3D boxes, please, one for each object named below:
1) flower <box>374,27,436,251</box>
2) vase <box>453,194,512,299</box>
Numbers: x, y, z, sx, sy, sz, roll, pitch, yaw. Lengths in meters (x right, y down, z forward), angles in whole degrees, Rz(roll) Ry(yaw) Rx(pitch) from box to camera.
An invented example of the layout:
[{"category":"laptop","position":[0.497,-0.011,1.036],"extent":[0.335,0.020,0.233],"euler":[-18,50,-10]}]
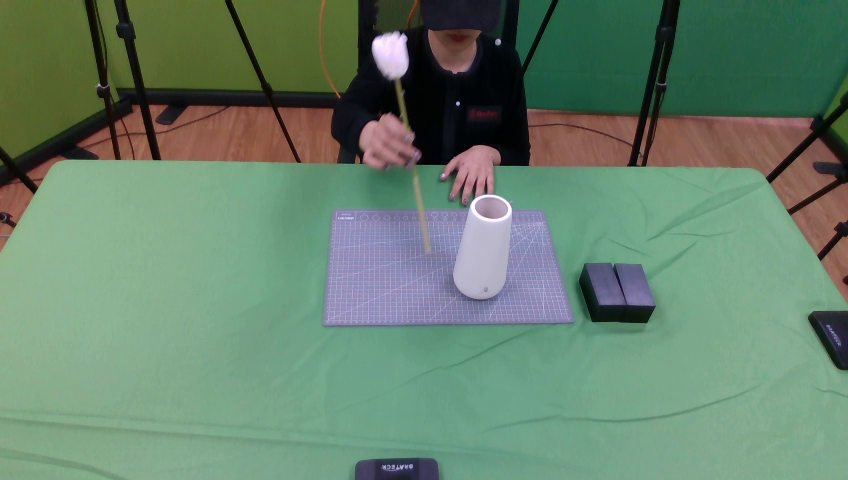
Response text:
[{"category":"flower","position":[-0.017,-0.137,0.927],"extent":[0.044,0.363,0.038],"euler":[-14,29,-3]},{"category":"vase","position":[0.107,0.016,1.065],"extent":[0.098,0.201,0.097],"euler":[3,47,-3]}]
